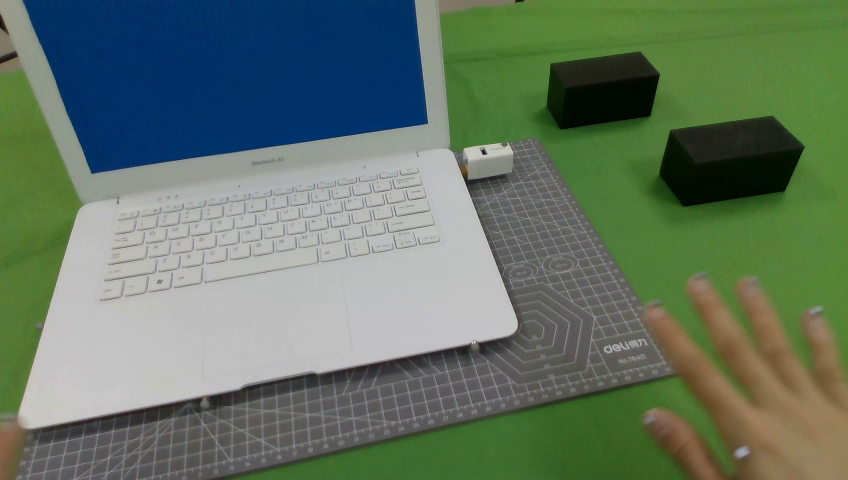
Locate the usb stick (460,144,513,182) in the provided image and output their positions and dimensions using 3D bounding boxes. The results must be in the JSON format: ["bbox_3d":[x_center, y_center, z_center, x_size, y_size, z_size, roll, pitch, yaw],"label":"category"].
[{"bbox_3d":[0.054,-0.072,0.576,0.059,0.027,0.021,-11,46,-5],"label":"usb stick"}]

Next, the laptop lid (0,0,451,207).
[{"bbox_3d":[-0.157,-0.157,0.529,0.357,0.243,0.013,-11,30,-6],"label":"laptop lid"}]

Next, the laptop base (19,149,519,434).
[{"bbox_3d":[-0.122,0.025,0.506,0.355,0.023,0.233,-10,48,-6],"label":"laptop base"}]
